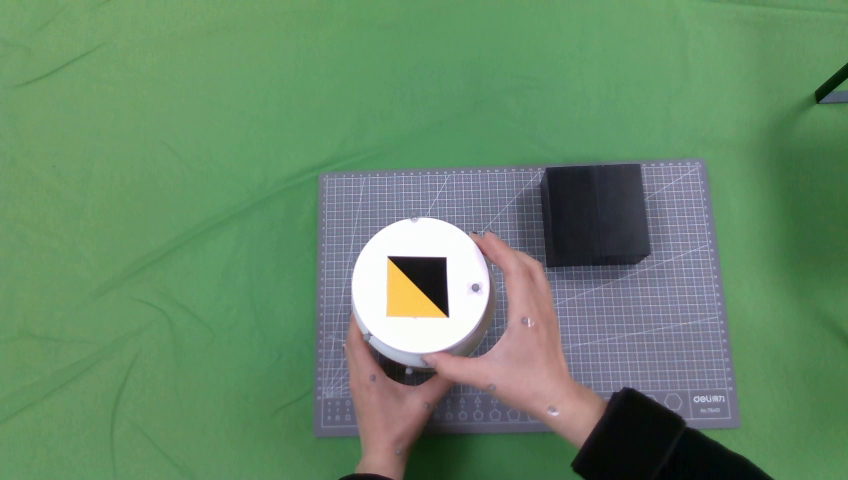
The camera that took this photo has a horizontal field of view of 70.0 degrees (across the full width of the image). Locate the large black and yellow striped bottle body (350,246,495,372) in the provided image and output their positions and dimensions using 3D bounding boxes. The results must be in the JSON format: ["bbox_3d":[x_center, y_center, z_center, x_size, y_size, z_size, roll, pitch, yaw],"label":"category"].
[{"bbox_3d":[0.001,0.058,0.583,0.131,0.185,0.130,-1,76,3],"label":"large black and yellow striped bottle body"}]

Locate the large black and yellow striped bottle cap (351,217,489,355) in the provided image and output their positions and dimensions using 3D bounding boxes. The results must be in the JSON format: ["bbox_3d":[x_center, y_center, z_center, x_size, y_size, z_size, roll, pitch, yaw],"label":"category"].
[{"bbox_3d":[-0.003,0.037,0.502,0.115,0.019,0.114,-1,77,4],"label":"large black and yellow striped bottle cap"}]
